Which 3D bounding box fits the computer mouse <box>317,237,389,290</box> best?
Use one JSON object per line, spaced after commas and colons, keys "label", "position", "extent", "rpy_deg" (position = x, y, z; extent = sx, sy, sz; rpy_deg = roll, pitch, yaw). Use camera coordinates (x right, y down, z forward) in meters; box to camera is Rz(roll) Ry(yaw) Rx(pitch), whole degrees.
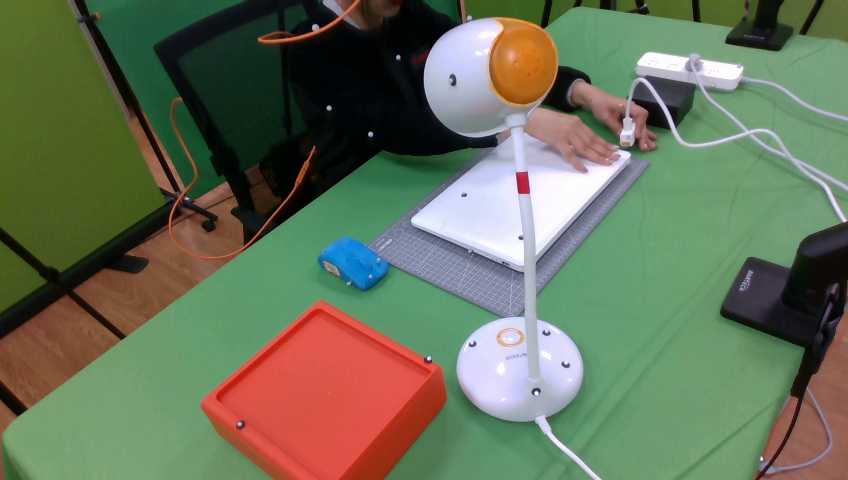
{"label": "computer mouse", "position": [-0.113, 0.033, 0.958], "extent": [0.116, 0.041, 0.063], "rpy_deg": [28, 50, 31]}

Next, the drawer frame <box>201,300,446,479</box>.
{"label": "drawer frame", "position": [-0.117, 0.193, 0.733], "extent": [0.212, 0.083, 0.202], "rpy_deg": [23, 48, 32]}

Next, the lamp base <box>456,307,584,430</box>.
{"label": "lamp base", "position": [0.115, 0.108, 0.713], "extent": [0.161, 0.181, 0.178], "rpy_deg": [-16, 43, -8]}

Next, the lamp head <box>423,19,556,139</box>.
{"label": "lamp head", "position": [0.068, -0.151, 0.563], "extent": [0.113, 0.113, 0.122], "rpy_deg": [-21, 18, -13]}

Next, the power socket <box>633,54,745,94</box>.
{"label": "power socket", "position": [0.563, -0.358, 1.295], "extent": [0.225, 0.033, 0.072], "rpy_deg": [21, 50, 30]}

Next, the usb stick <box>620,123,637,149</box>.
{"label": "usb stick", "position": [0.376, -0.190, 1.117], "extent": [0.021, 0.027, 0.059], "rpy_deg": [10, 46, 27]}

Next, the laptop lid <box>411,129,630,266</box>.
{"label": "laptop lid", "position": [0.172, -0.093, 1.049], "extent": [0.239, 0.013, 0.358], "rpy_deg": [23, 49, 36]}

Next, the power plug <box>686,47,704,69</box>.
{"label": "power plug", "position": [0.564, -0.384, 1.247], "extent": [0.035, 0.073, 0.052], "rpy_deg": [22, 72, 14]}

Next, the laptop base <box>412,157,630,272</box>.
{"label": "laptop base", "position": [0.176, -0.083, 1.056], "extent": [0.233, 0.023, 0.355], "rpy_deg": [21, 48, 36]}

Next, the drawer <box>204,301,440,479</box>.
{"label": "drawer", "position": [-0.120, 0.194, 0.735], "extent": [0.210, 0.073, 0.195], "rpy_deg": [23, 49, 32]}
